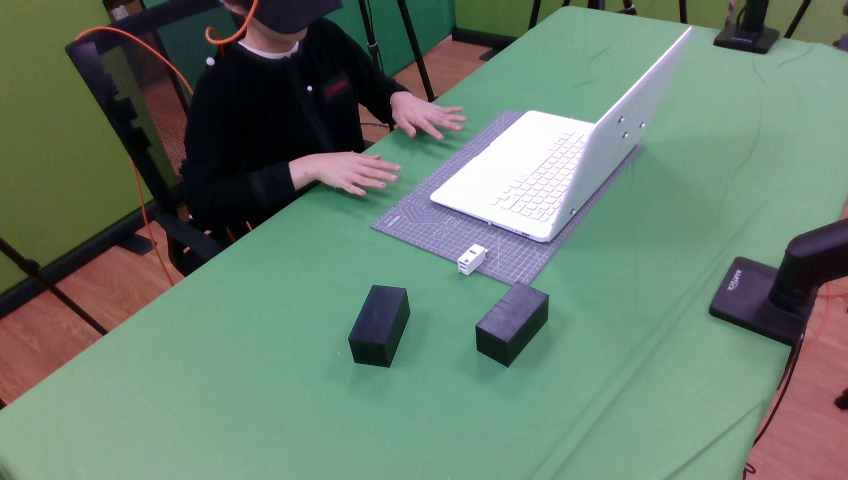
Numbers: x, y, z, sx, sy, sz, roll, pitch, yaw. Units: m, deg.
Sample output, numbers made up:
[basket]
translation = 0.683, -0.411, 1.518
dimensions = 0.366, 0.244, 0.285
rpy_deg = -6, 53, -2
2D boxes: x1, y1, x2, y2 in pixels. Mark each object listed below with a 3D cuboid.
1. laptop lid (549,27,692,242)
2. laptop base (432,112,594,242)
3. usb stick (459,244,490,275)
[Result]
[laptop lid]
translation = 0.311, -0.167, 0.948
dimensions = 0.013, 0.242, 0.358
rpy_deg = 33, 52, 20
[laptop base]
translation = 0.208, -0.129, 1.098
dimensions = 0.233, 0.023, 0.355
rpy_deg = 20, 47, 34
[usb stick]
translation = 0.080, 0.026, 0.926
dimensions = 0.021, 0.027, 0.059
rpy_deg = 27, 49, 33
